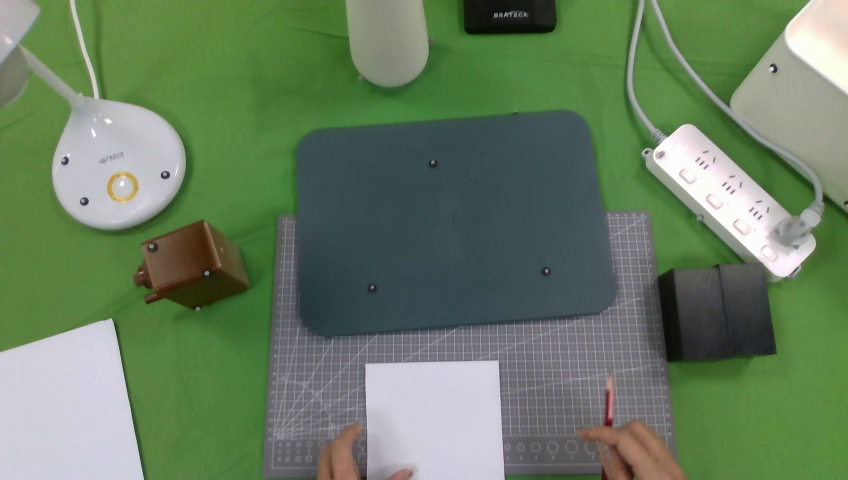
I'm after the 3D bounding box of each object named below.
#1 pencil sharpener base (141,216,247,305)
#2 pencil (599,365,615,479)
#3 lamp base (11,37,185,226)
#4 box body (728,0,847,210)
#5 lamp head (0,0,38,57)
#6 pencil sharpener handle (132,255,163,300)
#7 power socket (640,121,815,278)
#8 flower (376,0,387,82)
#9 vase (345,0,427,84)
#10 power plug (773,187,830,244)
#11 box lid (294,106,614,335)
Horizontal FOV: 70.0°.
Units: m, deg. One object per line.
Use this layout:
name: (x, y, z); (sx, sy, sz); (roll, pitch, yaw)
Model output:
pencil sharpener base: (-0.251, 0.027, 0.664); (0.077, 0.107, 0.061); (-21, 76, -5)
pencil: (0.169, 0.214, 0.568); (0.012, 0.012, 0.193); (6, 86, 2)
lamp base: (-0.380, -0.124, 0.666); (0.160, 0.181, 0.178); (-31, 74, -8)
box body: (0.573, -0.151, 0.680); (0.254, 0.161, 0.362); (-44, 79, -10)
lamp head: (-0.341, -0.158, 0.391); (0.112, 0.124, 0.111); (-26, 41, 26)
pencil sharpener handle: (-0.297, 0.045, 0.647); (0.030, 0.068, 0.035); (-21, 63, -5)
power socket: (0.360, -0.050, 0.721); (0.072, 0.033, 0.225); (-40, 78, -10)
flower: (-0.036, -0.301, 0.617); (0.044, 0.364, 0.038); (-25, 64, -22)
vase: (-0.044, -0.265, 0.694); (0.098, 0.201, 0.097); (0, 73, 0)
power plug: (0.432, -0.022, 0.690); (0.072, 0.053, 0.035); (-29, 74, -12)
box lid: (0.032, -0.030, 0.727); (0.372, 0.015, 0.261); (-5, 75, -1)
